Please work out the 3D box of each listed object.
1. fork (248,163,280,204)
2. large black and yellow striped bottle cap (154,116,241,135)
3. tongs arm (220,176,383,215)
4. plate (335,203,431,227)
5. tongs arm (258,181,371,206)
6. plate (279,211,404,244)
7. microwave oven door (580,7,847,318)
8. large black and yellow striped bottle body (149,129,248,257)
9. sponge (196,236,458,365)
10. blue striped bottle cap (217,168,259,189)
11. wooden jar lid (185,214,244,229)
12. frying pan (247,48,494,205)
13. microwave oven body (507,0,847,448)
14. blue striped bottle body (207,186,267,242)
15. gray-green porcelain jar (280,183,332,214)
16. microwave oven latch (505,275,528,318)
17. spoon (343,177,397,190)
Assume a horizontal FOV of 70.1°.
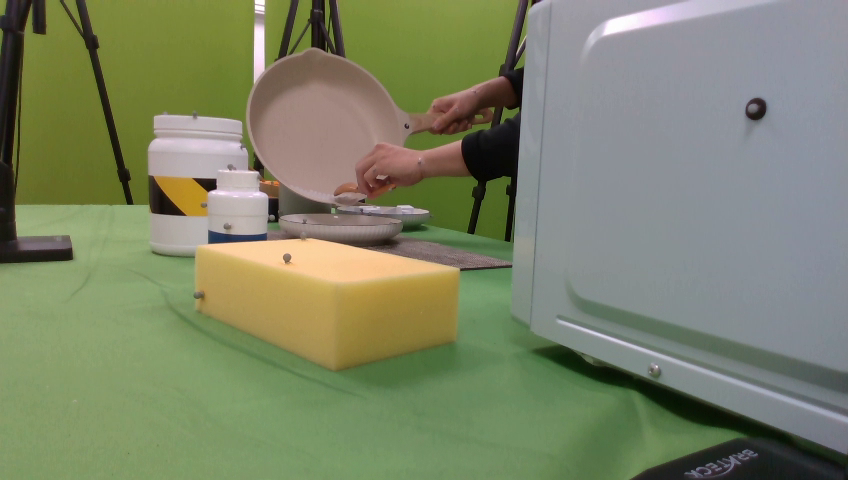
[{"bbox_3d":[-0.396,-0.143,1.486,0.028,0.018,0.208,20,-26,45],"label":"fork"},{"bbox_3d":[-0.314,-0.158,0.843,0.115,0.019,0.115,3,7,0],"label":"large black and yellow striped bottle cap"},{"bbox_3d":[-0.285,-0.105,1.445,0.389,0.027,0.028,9,-4,-23],"label":"tongs arm"},{"bbox_3d":[-0.089,-0.053,1.309,0.208,0.039,0.207,2,8,0],"label":"plate"},{"bbox_3d":[-0.241,-0.095,1.374,0.387,0.026,0.050,9,0,-37],"label":"tongs arm"},{"bbox_3d":[-0.138,-0.022,1.021,0.209,0.038,0.209,2,8,0],"label":"plate"},{"bbox_3d":[0.295,-0.067,0.570,0.358,0.243,0.039,-3,9,-31],"label":"microwave oven door"},{"bbox_3d":[-0.315,-0.075,0.854,0.131,0.184,0.130,1,7,0],"label":"large black and yellow striped bottle body"},{"bbox_3d":[-0.087,0.039,0.500,0.206,0.061,0.119,8,9,44],"label":"sponge"},{"bbox_3d":[-0.202,-0.067,0.656,0.044,0.020,0.044,0,10,0],"label":"blue striped bottle cap"},{"bbox_3d":[-0.404,-0.037,1.169,0.108,0.020,0.108,3,7,0],"label":"wooden jar lid"},{"bbox_3d":[-0.085,-0.220,1.157,0.490,0.306,0.102,-10,-8,-18],"label":"frying pan"},{"bbox_3d":[0.331,-0.042,0.425,0.444,0.260,0.324,-2,8,-31],"label":"microwave oven body"},{"bbox_3d":[-0.204,-0.016,0.663,0.063,0.120,0.063,2,7,0],"label":"blue striped bottle body"},{"bbox_3d":[-0.238,-0.092,1.221,0.106,0.126,0.106,2,8,0],"label":"gray-green porcelain jar"},{"bbox_3d":[0.100,0.042,0.472,0.079,0.029,0.030,-2,8,-30],"label":"microwave oven latch"},{"bbox_3d":[-0.090,-0.094,1.026,0.042,0.021,0.193,-22,18,-27],"label":"spoon"}]
